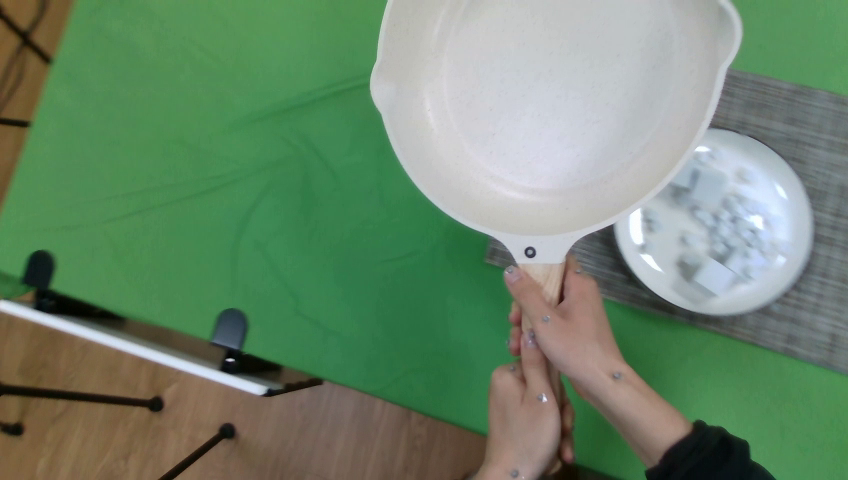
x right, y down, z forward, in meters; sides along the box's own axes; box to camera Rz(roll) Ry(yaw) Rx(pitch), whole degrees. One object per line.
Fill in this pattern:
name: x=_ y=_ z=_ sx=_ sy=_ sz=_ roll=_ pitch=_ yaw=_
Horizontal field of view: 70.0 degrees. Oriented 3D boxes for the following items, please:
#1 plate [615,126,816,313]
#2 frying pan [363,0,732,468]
plate: x=0.317 y=-0.022 z=0.674 sx=0.207 sy=0.039 sz=0.207 roll=-1 pitch=83 yaw=7
frying pan: x=0.094 y=-0.046 z=0.524 sx=0.305 sy=0.103 sz=0.487 roll=1 pitch=92 yaw=27
